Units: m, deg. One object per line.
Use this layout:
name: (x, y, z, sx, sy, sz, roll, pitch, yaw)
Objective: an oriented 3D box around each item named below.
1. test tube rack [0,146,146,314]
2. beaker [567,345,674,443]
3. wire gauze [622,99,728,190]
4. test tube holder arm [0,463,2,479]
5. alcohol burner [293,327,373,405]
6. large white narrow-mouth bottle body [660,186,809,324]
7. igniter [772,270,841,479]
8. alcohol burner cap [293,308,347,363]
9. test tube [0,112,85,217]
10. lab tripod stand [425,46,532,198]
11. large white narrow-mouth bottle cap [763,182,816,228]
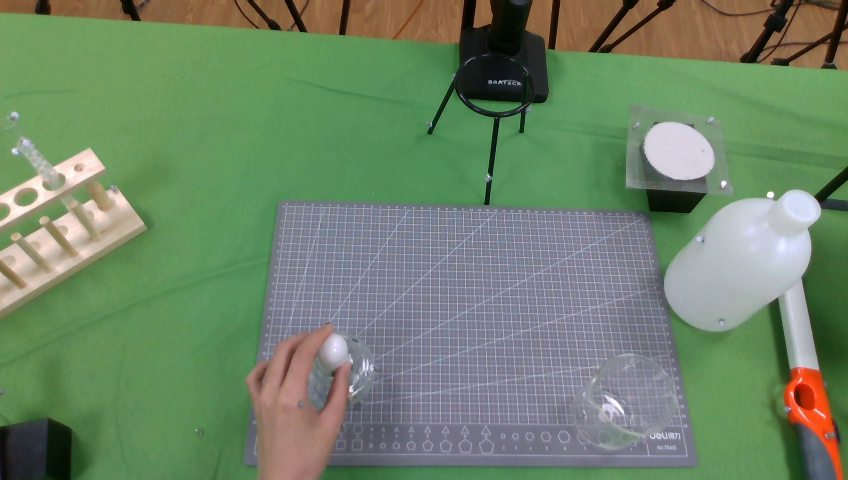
test tube rack: (-0.427, 0.009, 0.623, 0.242, 0.086, 0.066, -37, 71, -20)
beaker: (0.181, 0.153, 0.585, 0.084, 0.101, 0.073, -2, 62, -4)
wire gauze: (0.300, -0.115, 0.732, 0.121, 0.011, 0.124, 8, 62, 0)
test tube holder arm: (-0.372, 0.187, 0.520, 0.013, 0.015, 0.177, -14, 65, -21)
alcohol burner: (-0.087, 0.114, 0.576, 0.078, 0.120, 0.077, 3, 61, -5)
large white narrow-mouth bottle body: (0.323, 0.009, 0.619, 0.102, 0.196, 0.101, 1, 62, -2)
igniter: (0.406, 0.142, 0.651, 0.057, 0.025, 0.274, 13, 62, -9)
alcohol burner cap: (-0.089, 0.087, 0.539, 0.034, 0.034, 0.047, -40, 75, -21)
test tube: (-0.382, -0.070, 0.610, 0.017, 0.151, 0.017, 0, 57, 0)
lab tripod stand: (0.072, -0.145, 0.714, 0.148, 0.132, 0.147, 3, 63, -5)
large white narrow-mouth bottle cap: (0.327, -0.032, 0.544, 0.038, 0.024, 0.037, 2, 62, -3)
